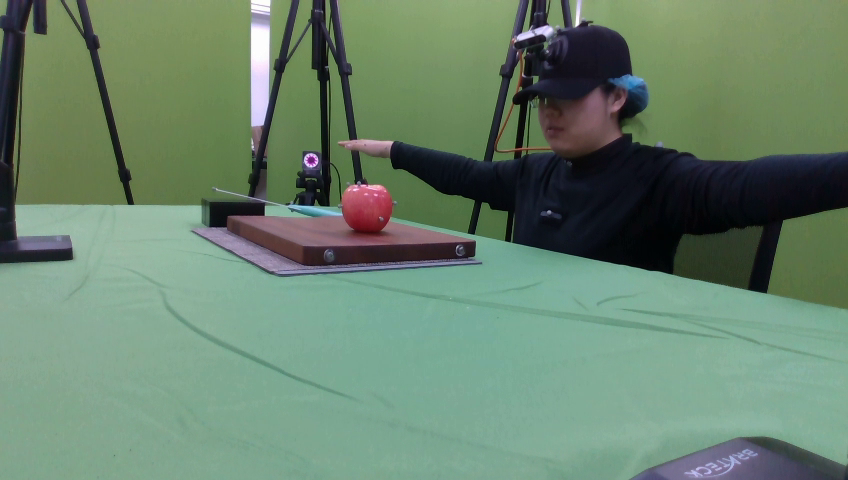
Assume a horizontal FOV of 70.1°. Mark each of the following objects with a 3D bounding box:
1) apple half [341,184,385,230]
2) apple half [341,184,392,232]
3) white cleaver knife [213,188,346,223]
[{"bbox_3d":[-0.103,-0.055,0.968,0.082,0.081,0.032,-2,13,-32],"label":"apple half"},{"bbox_3d":[-0.084,-0.048,0.936,0.081,0.074,0.053,1,11,-32],"label":"apple half"},{"bbox_3d":[-0.281,-0.067,1.226,0.288,0.021,0.065,11,6,-29],"label":"white cleaver knife"}]
